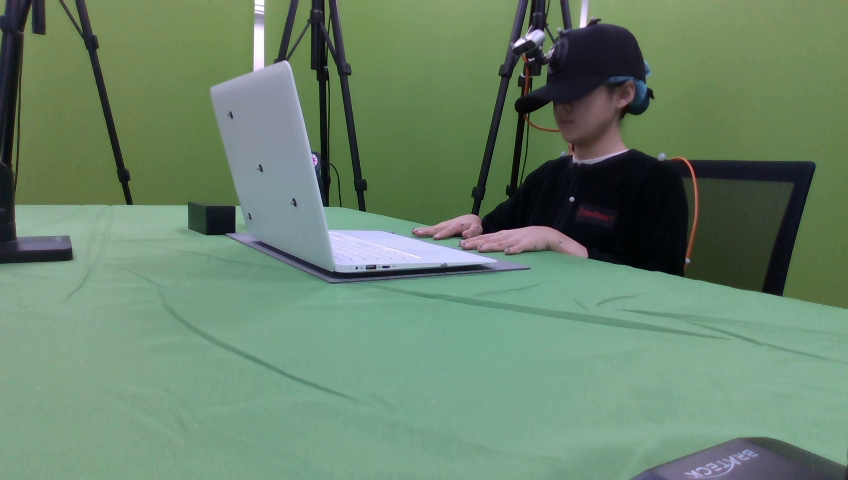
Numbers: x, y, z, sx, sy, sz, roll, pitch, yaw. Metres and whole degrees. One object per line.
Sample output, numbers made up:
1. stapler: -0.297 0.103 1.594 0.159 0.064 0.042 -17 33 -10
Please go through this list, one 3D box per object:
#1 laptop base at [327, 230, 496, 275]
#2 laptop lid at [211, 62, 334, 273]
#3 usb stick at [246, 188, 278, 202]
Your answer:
1. laptop base: -0.091 0.016 0.884 0.237 0.023 0.352 2 6 -32
2. laptop lid: -0.211 -0.095 0.791 0.013 0.241 0.355 -18 18 -29
3. usb stick: -0.314 -0.086 1.166 0.059 0.027 0.021 -4 12 -32
